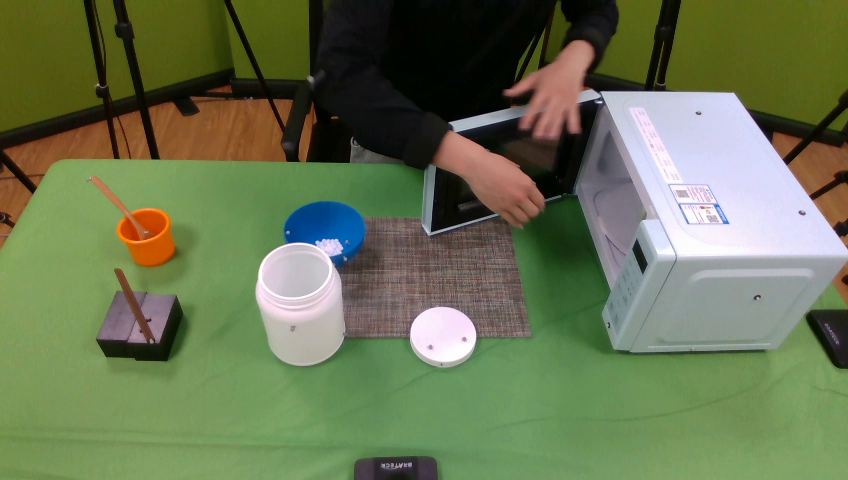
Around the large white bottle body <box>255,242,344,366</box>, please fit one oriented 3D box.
[{"bbox_3d":[-0.196,0.102,0.967,0.131,0.185,0.130,2,49,-2],"label":"large white bottle body"}]

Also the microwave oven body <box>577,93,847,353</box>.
[{"bbox_3d":[0.475,-0.042,1.110,0.326,0.261,0.438,-1,45,-4],"label":"microwave oven body"}]

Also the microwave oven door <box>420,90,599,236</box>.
[{"bbox_3d":[0.165,-0.150,1.184,0.356,0.245,0.039,-17,49,-19],"label":"microwave oven door"}]

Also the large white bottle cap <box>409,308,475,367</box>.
[{"bbox_3d":[0.031,0.166,1.041,0.115,0.018,0.114,2,46,-2],"label":"large white bottle cap"}]

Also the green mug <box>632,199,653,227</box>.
[{"bbox_3d":[0.456,-0.056,1.152,0.125,0.105,0.092,-17,45,-10],"label":"green mug"}]

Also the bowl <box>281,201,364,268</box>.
[{"bbox_3d":[-0.187,0.005,1.137,0.151,0.077,0.150,3,46,-3],"label":"bowl"}]

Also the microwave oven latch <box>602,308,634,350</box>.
[{"bbox_3d":[0.332,0.153,1.044,0.030,0.029,0.078,-1,45,-4],"label":"microwave oven latch"}]

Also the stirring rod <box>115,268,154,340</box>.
[{"bbox_3d":[-0.479,0.103,0.999,0.014,0.006,0.175,8,32,-49],"label":"stirring rod"}]

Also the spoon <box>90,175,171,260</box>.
[{"bbox_3d":[-0.539,-0.042,1.111,0.021,0.194,0.041,-13,27,53],"label":"spoon"}]
